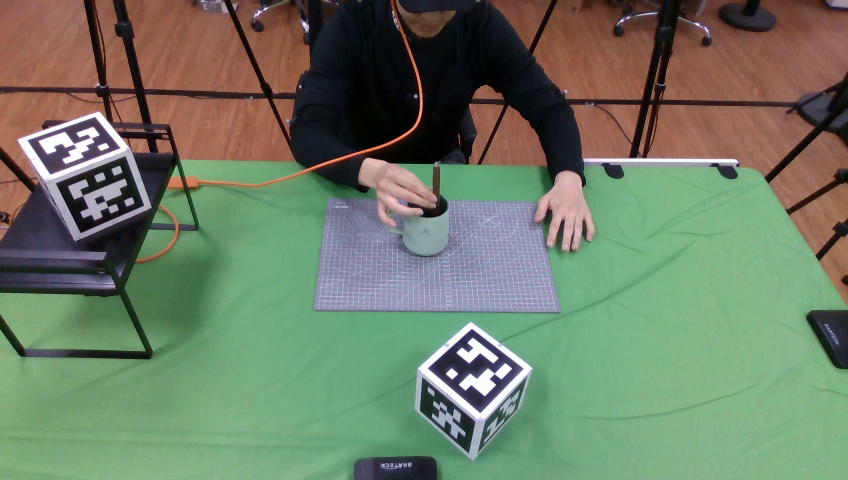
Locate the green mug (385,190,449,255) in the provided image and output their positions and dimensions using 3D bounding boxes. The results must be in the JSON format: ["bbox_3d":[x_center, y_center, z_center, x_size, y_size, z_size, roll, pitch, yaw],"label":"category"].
[{"bbox_3d":[-0.012,-0.033,1.166,0.125,0.105,0.092,1,46,-2],"label":"green mug"}]

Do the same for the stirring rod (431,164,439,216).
[{"bbox_3d":[0.021,-0.064,1.118,0.014,0.177,0.006,7,41,9],"label":"stirring rod"}]
